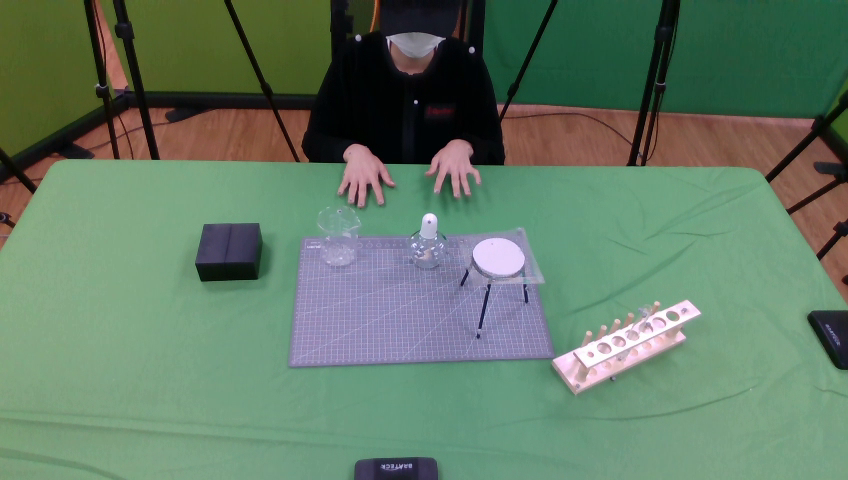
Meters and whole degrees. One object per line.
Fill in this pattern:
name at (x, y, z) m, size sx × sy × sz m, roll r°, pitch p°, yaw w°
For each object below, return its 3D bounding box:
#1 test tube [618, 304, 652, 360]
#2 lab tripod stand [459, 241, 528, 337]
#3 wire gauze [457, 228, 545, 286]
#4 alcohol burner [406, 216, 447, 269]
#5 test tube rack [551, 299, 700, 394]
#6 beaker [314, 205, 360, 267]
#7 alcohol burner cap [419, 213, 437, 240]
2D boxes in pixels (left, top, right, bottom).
test tube at (0.335, 0.150, 0.967) m, size 0.017 × 0.151 × 0.017 m, roll 0°, pitch 50°, yaw 0°
lab tripod stand at (0.122, 0.075, 1.054) m, size 0.148 × 0.132 × 0.147 m, roll 3°, pitch 44°, yaw -3°
wire gauze at (0.126, 0.029, 1.006) m, size 0.125 × 0.011 × 0.120 m, roll -4°, pitch 46°, yaw -10°
alcohol burner at (0.006, -0.002, 1.134) m, size 0.078 × 0.120 × 0.077 m, roll 2°, pitch 48°, yaw -2°
test tube rack at (0.339, 0.166, 1.021) m, size 0.242 × 0.085 × 0.066 m, roll -19°, pitch 50°, yaw -21°
beaker at (-0.160, -0.004, 1.132) m, size 0.084 × 0.101 × 0.073 m, roll 9°, pitch 46°, yaw 3°
alcohol burner cap at (0.009, -0.027, 1.109) m, size 0.034 × 0.048 × 0.033 m, roll 3°, pitch 44°, yaw -3°
